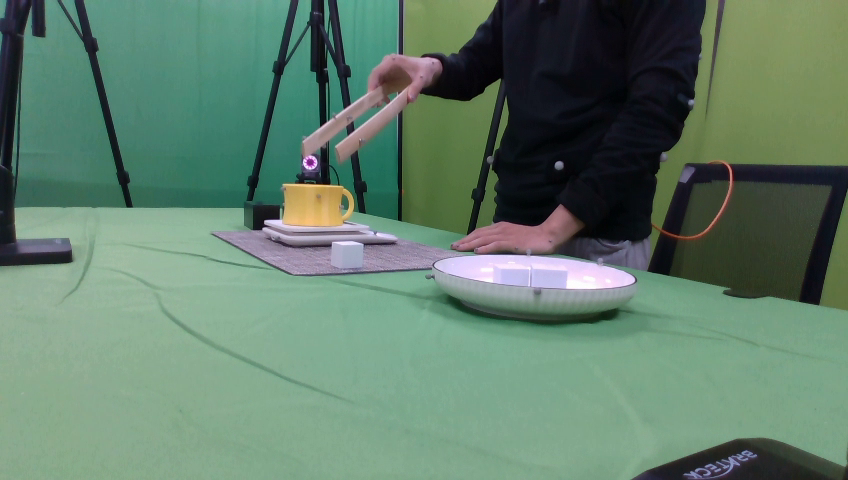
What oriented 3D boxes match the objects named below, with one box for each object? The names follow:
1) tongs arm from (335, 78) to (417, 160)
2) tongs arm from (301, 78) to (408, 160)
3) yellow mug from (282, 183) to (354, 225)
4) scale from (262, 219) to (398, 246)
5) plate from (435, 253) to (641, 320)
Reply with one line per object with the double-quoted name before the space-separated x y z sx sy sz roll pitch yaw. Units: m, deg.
"tongs arm" -0.066 -0.203 0.959 0.028 0.028 0.388 -2 26 17
"tongs arm" -0.096 -0.205 0.968 0.050 0.026 0.385 1 27 14
"yellow mug" -0.172 -0.061 1.009 0.131 0.064 0.099 -2 8 -41
"scale" -0.160 -0.016 1.028 0.202 0.031 0.148 -2 9 -32
"plate" 0.114 0.047 0.626 0.208 0.039 0.207 2 7 0
